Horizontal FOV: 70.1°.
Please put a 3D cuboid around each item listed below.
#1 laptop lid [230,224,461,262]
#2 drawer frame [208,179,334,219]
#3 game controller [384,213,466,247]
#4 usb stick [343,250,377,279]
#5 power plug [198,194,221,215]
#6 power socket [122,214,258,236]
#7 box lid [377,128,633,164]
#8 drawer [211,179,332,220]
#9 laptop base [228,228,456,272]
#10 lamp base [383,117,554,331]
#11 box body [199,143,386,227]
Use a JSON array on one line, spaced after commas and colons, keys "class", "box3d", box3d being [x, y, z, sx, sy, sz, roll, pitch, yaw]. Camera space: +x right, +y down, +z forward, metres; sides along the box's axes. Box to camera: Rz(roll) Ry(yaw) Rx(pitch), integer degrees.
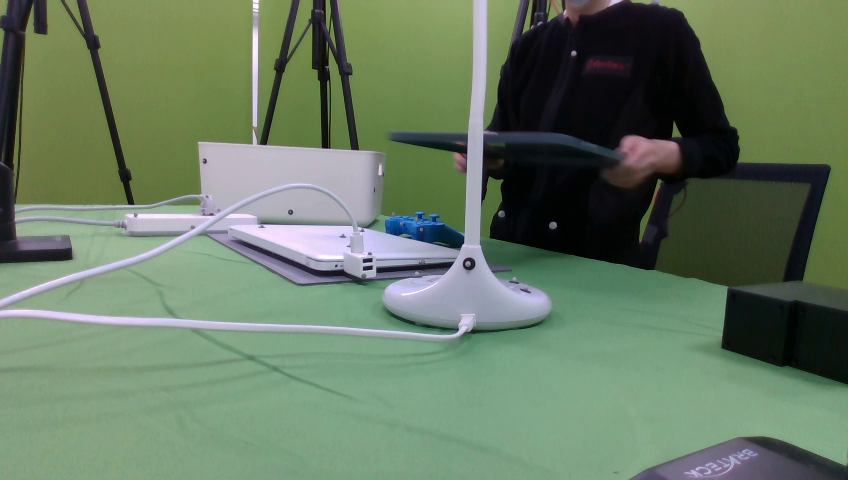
[{"class": "laptop lid", "box3d": [-0.120, 0.000, 0.888, 0.243, 0.013, 0.355, 1, 7, -33]}, {"class": "drawer frame", "box3d": [-0.326, -0.093, 1.328, 0.213, 0.082, 0.202, -1, 5, 6]}, {"class": "game controller", "box3d": [-0.003, -0.021, 1.074, 0.097, 0.051, 0.154, -3, 9, -32]}, {"class": "usb stick", "box3d": [-0.076, 0.026, 0.687, 0.021, 0.027, 0.059, -8, 9, -31]}, {"class": "power plug", "box3d": [-0.387, -0.055, 1.089, 0.035, 0.052, 0.072, -1, 7, -22]}, {"class": "power socket", "box3d": [-0.398, -0.028, 1.049, 0.228, 0.032, 0.072, -3, 8, -34]}, {"class": "box lid", "box3d": [0.134, -0.137, 0.905, 0.262, 0.015, 0.373, 8, 6, 35]}, {"class": "drawer", "box3d": [-0.328, -0.095, 1.331, 0.212, 0.073, 0.194, 5, 8, 6]}, {"class": "laptop base", "box3d": [-0.122, 0.012, 0.889, 0.237, 0.023, 0.352, 2, 6, -35]}, {"class": "lamp base", "box3d": [0.045, -0.019, 0.547, 0.161, 0.180, 0.179, 2, 10, -4]}, {"class": "box body", "box3d": [-0.276, -0.124, 1.334, 0.364, 0.160, 0.254, 3, 7, 1]}]
